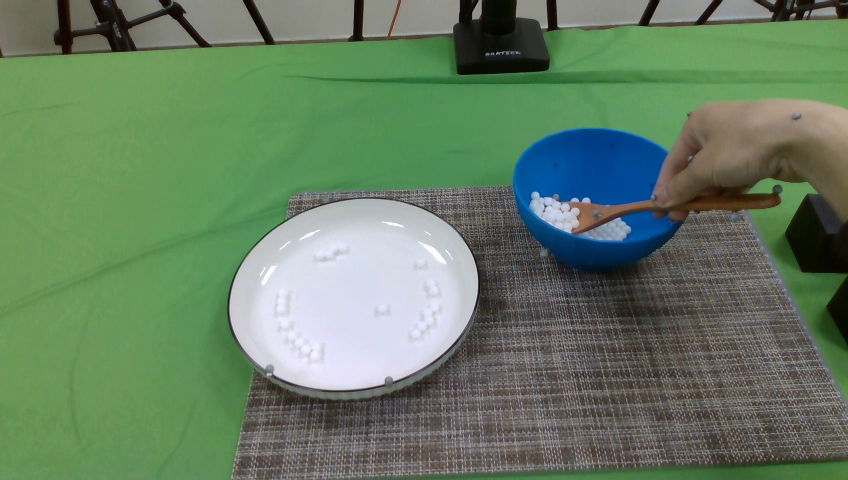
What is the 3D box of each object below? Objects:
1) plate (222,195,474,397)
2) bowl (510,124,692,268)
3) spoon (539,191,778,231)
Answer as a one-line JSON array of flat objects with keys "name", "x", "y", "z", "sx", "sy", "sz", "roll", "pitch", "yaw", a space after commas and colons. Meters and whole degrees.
[{"name": "plate", "x": -0.061, "y": 0.045, "z": 0.514, "sx": 0.207, "sy": 0.039, "sz": 0.205, "roll": -1, "pitch": 47, "yaw": 2}, {"name": "bowl", "x": 0.150, "y": -0.028, "z": 0.542, "sx": 0.151, "sy": 0.077, "sz": 0.150, "roll": -1, "pitch": 47, "yaw": 2}, {"name": "spoon", "x": 0.173, "y": -0.026, "z": 0.480, "sx": 0.192, "sy": 0.022, "sz": 0.041, "roll": -5, "pitch": 37, "yaw": 49}]
